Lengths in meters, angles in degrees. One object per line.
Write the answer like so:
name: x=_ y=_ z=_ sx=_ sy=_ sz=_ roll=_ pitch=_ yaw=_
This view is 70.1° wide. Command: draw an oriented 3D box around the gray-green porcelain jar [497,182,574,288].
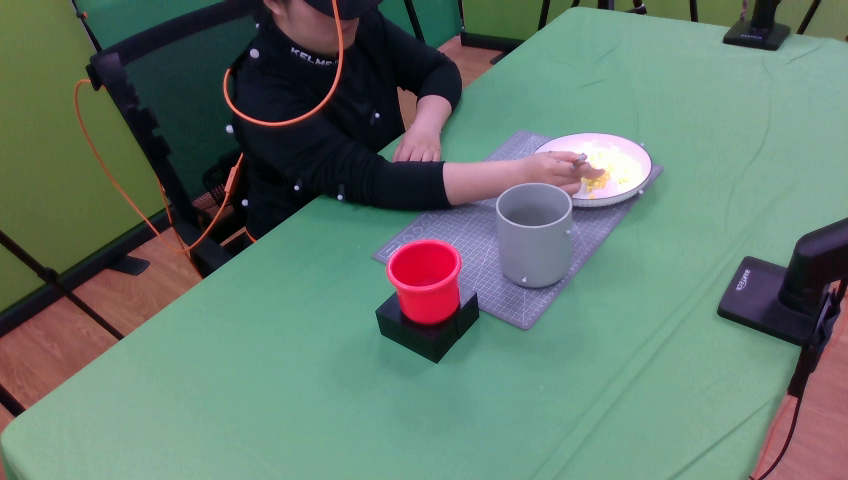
gray-green porcelain jar: x=0.161 y=-0.003 z=0.869 sx=0.106 sy=0.127 sz=0.105 roll=-5 pitch=40 yaw=5

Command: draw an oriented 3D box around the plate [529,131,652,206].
plate: x=0.287 y=-0.121 z=1.056 sx=0.207 sy=0.039 sz=0.206 roll=-5 pitch=40 yaw=5

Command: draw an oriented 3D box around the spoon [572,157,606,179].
spoon: x=0.257 y=-0.117 z=0.961 sx=0.041 sy=0.021 sz=0.195 roll=-7 pitch=-6 yaw=25
